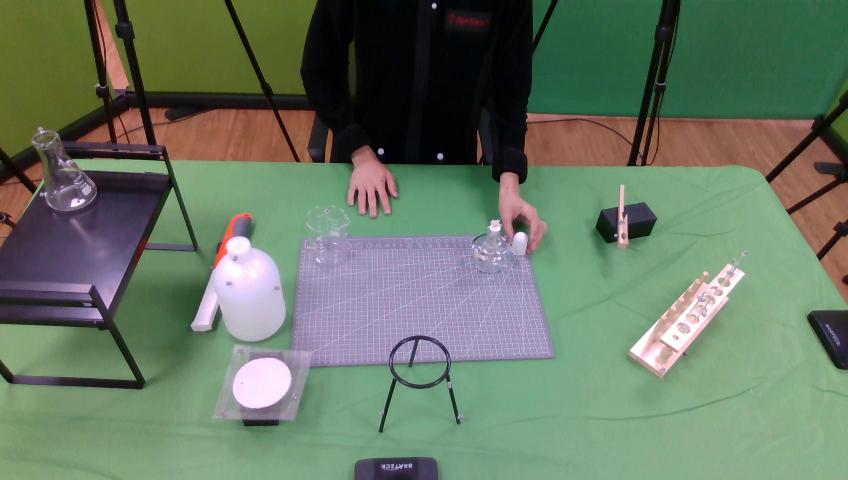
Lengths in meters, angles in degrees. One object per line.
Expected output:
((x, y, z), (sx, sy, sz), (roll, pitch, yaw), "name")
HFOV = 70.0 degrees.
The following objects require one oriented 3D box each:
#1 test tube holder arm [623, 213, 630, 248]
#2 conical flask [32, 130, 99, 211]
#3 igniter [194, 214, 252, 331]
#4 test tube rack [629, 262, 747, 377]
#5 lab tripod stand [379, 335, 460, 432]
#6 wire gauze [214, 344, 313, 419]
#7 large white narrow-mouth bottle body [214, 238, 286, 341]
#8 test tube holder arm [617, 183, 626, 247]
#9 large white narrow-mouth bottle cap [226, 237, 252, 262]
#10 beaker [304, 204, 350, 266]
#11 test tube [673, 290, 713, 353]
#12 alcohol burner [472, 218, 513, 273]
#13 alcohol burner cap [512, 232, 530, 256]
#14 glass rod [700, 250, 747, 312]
((0.392, -0.020, 1.180), (0.010, 0.015, 0.087), (15, 47, -1), "test tube holder arm")
((-0.565, -0.110, 0.944), (0.075, 0.122, 0.075), (2, 46, -2), "conical flask")
((-0.367, 0.050, 1.119), (0.057, 0.025, 0.275), (-4, 46, 7), "igniter")
((0.464, 0.126, 1.061), (0.242, 0.085, 0.066), (-34, 56, -30), "test tube rack")
((-0.011, 0.214, 0.911), (0.148, 0.132, 0.147), (1, 45, 0), "lab tripod stand")
((-0.241, 0.213, 0.915), (0.121, 0.011, 0.124), (5, 46, 1), "wire gauze")
((-0.285, 0.073, 0.986), (0.102, 0.195, 0.101), (2, 46, -2), "large white narrow-mouth bottle body")
((0.395, -0.054, 1.210), (0.013, 0.015, 0.177), (15, 47, -1), "test tube holder arm")
((-0.282, 0.014, 0.923), (0.038, 0.024, 0.037), (2, 46, -2), "large white narrow-mouth bottle cap")
((-0.178, -0.006, 1.132), (0.084, 0.101, 0.073), (4, 46, -1), "beaker")
((0.429, 0.135, 0.981), (0.017, 0.151, 0.017), (4, 44, -4), "test tube")
((0.128, 0.005, 1.132), (0.078, 0.120, 0.077), (0, 47, 0), "alcohol burner")
((0.191, 0.005, 1.183), (0.034, 0.048, 0.033), (4, 44, -4), "alcohol burner cap")
((0.500, 0.075, 1.021), (0.008, 0.201, 0.008), (0, 55, 1), "glass rod")
